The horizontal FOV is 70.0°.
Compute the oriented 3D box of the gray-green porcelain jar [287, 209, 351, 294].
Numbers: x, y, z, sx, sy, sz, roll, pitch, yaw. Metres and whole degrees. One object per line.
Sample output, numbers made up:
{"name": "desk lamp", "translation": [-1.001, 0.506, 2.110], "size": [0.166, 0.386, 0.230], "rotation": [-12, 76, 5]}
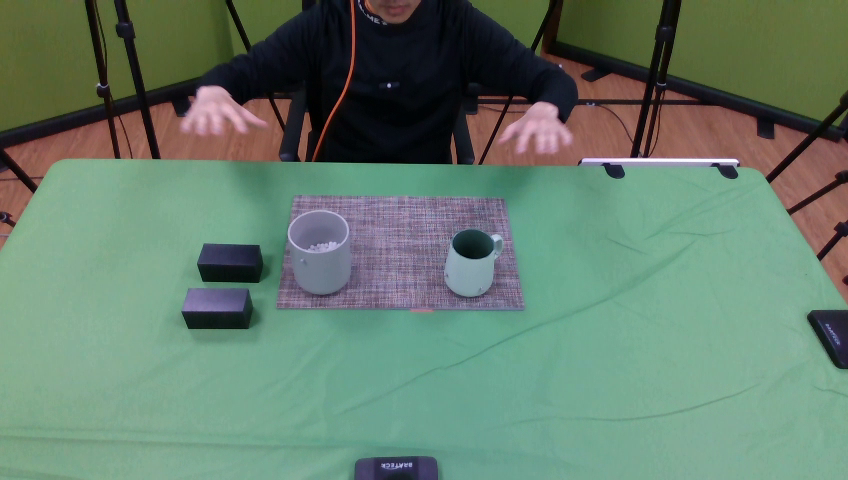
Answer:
{"name": "gray-green porcelain jar", "translation": [-0.184, 0.026, 1.080], "size": [0.106, 0.127, 0.105], "rotation": [2, 47, -2]}

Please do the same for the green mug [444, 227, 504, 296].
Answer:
{"name": "green mug", "translation": [0.097, 0.033, 1.110], "size": [0.125, 0.105, 0.092], "rotation": [-31, 55, -29]}
